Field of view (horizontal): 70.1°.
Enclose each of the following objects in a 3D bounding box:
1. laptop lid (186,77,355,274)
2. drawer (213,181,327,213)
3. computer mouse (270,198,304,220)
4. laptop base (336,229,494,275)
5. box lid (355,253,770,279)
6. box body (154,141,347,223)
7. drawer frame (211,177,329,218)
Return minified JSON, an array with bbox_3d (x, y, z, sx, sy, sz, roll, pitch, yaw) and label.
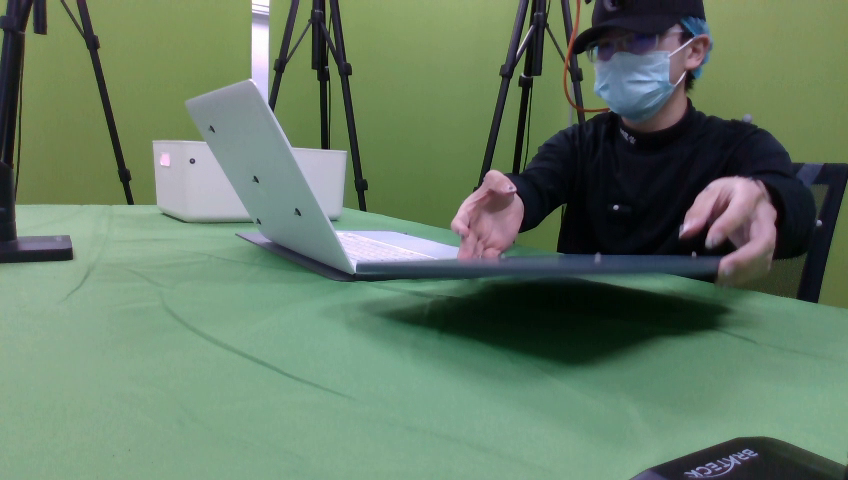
[{"bbox_3d":[-0.211,-0.081,0.772,0.013,0.242,0.355,-35,25,-23],"label":"laptop lid"},{"bbox_3d":[-0.349,-0.099,1.366,0.213,0.073,0.193,-3,8,-31],"label":"drawer"},{"bbox_3d":[-0.318,-0.074,1.403,0.063,0.041,0.116,4,13,-24],"label":"computer mouse"},{"bbox_3d":[-0.065,0.014,0.877,0.237,0.023,0.352,1,7,-32],"label":"laptop base"},{"bbox_3d":[0.148,0.023,0.586,0.262,0.015,0.374,-1,-1,43],"label":"box lid"},{"bbox_3d":[-0.383,-0.132,1.346,0.366,0.160,0.253,-3,9,-36],"label":"box body"},{"bbox_3d":[-0.349,-0.099,1.364,0.215,0.082,0.200,-3,9,-32],"label":"drawer frame"}]
